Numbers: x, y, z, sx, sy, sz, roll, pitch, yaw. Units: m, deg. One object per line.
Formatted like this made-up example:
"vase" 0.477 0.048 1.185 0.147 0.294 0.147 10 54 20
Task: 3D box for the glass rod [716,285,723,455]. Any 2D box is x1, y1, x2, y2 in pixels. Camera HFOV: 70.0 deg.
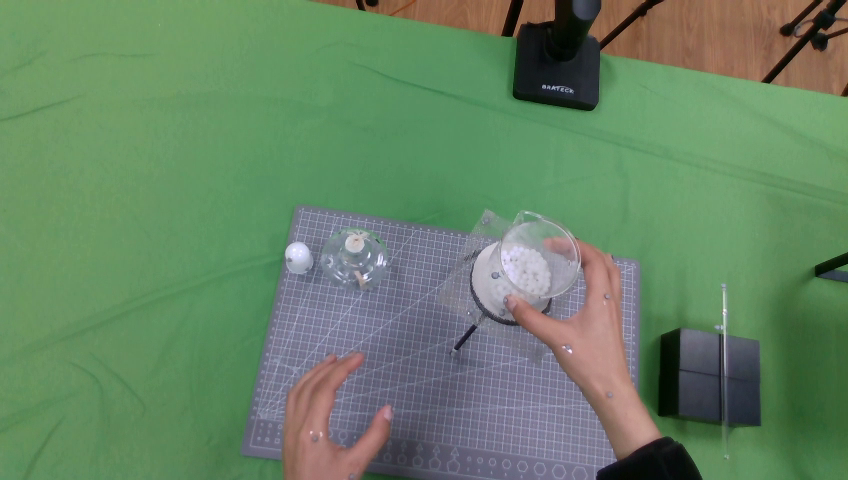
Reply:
"glass rod" 0.346 0.148 0.708 0.008 0.008 0.198 11 72 -3

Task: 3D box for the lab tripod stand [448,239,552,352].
"lab tripod stand" 0.086 0.061 0.685 0.149 0.132 0.147 3 70 -7

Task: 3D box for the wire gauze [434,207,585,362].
"wire gauze" 0.089 0.041 0.621 0.125 0.011 0.121 30 71 3

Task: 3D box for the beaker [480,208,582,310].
"beaker" 0.094 0.022 0.570 0.074 0.100 0.083 -14 76 -10

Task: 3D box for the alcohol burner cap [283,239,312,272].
"alcohol burner cap" -0.151 0.016 0.717 0.034 0.048 0.033 2 71 -5

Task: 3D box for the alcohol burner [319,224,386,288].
"alcohol burner" -0.080 0.013 0.690 0.078 0.119 0.077 3 71 -8
